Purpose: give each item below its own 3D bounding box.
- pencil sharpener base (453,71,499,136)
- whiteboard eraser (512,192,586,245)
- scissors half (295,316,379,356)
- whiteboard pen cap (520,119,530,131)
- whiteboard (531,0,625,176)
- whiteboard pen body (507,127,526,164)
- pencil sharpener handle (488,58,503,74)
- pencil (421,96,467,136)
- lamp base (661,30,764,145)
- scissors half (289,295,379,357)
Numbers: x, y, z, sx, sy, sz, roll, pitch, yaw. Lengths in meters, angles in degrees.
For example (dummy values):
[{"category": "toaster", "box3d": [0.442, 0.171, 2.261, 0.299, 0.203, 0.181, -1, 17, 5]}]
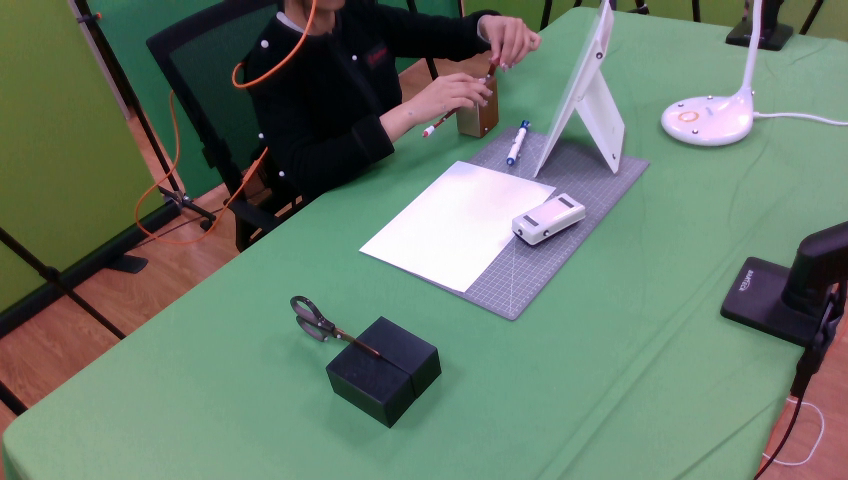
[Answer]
[{"category": "pencil sharpener base", "box3d": [0.108, -0.276, 1.219, 0.061, 0.107, 0.077, 20, 48, 31]}, {"category": "whiteboard eraser", "box3d": [0.199, -0.032, 0.962, 0.113, 0.042, 0.055, -27, 42, -20]}, {"category": "scissors half", "box3d": [-0.119, 0.132, 0.813, 0.174, 0.040, 0.013, 9, 34, 45]}, {"category": "whiteboard pen cap", "box3d": [0.199, -0.226, 1.204, 0.018, 0.018, 0.033, 7, 42, 18]}, {"category": "whiteboard", "box3d": [0.320, -0.258, 1.050, 0.144, 0.306, 0.217, 22, 45, 5]}, {"category": "whiteboard pen body", "box3d": [0.181, -0.189, 1.162, 0.017, 0.017, 0.140, 8, 42, 19]}, {"category": "pencil sharpener handle", "box3d": [0.137, -0.335, 1.218, 0.036, 0.068, 0.031, 38, 54, 9]}, {"category": "pencil", "box3d": [0.054, -0.251, 1.153, 0.012, 0.012, 0.194, 21, 50, 31]}, {"category": "lamp base", "box3d": [0.535, -0.287, 1.096, 0.179, 0.181, 0.159, -10, 40, -4]}, {"category": "scissors half", "box3d": [-0.122, 0.114, 0.803, 0.174, 0.040, 0.013, 26, 50, 32]}]
